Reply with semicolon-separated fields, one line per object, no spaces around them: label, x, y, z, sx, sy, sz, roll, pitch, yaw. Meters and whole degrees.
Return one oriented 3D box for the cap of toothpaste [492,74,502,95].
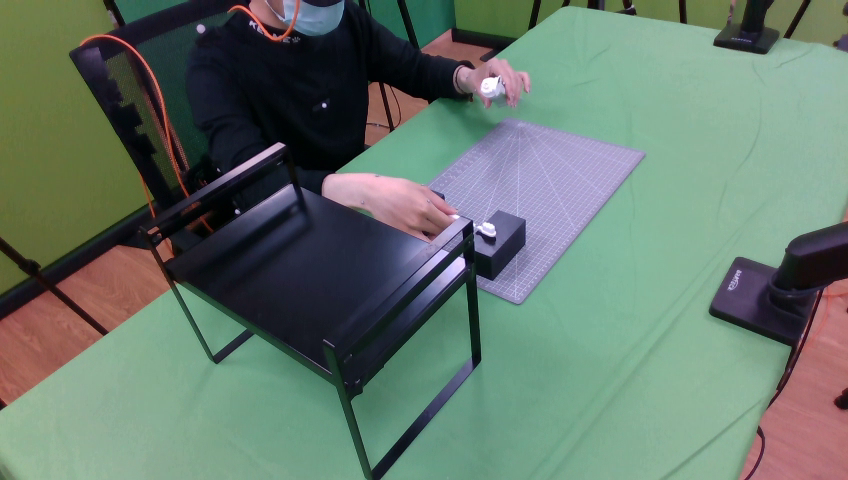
cap of toothpaste;0.127;-0.272;1.057;0.011;0.037;0.037;13;44;15

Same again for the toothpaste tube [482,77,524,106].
toothpaste tube;0.146;-0.279;1.146;0.055;0.034;0.166;-10;-2;22

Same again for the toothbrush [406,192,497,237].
toothbrush;0.038;-0.044;0.938;0.180;0.017;0.014;26;51;34
